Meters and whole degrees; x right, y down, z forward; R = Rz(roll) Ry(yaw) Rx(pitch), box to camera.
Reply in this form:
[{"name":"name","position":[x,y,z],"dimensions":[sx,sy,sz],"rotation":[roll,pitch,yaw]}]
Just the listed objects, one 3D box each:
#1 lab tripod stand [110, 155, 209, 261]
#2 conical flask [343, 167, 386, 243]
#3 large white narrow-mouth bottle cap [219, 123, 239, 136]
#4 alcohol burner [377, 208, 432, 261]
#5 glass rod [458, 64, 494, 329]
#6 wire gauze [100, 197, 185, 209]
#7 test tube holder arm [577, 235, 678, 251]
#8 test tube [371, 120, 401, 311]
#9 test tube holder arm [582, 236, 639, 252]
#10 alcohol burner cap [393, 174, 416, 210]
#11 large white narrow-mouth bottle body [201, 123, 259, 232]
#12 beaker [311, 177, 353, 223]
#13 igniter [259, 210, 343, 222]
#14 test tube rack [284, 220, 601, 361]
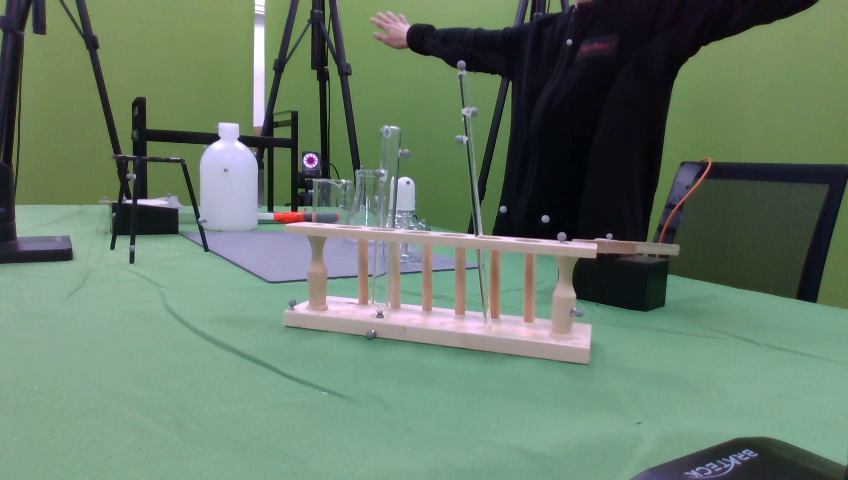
[{"name":"lab tripod stand","position":[-0.361,-0.046,0.806],"dimensions":[0.148,0.131,0.148],"rotation":[2,5,0]},{"name":"conical flask","position":[-0.096,-0.059,1.001],"dimensions":[0.075,0.122,0.075],"rotation":[2,8,0]},{"name":"large white narrow-mouth bottle cap","position":[-0.356,-0.201,1.104],"dimensions":[0.038,0.024,0.037],"rotation":[2,8,0]},{"name":"alcohol burner","position":[-0.027,-0.031,0.838],"dimensions":[0.078,0.119,0.078],"rotation":[0,6,0]},{"name":"glass rod","position":[0.039,-0.029,0.449],"dimensions":[0.008,0.199,0.008],"rotation":[-7,9,1]},{"name":"wire gauze","position":[-0.469,-0.062,1.008],"dimensions":[0.126,0.011,0.121],"rotation":[-2,8,-25]},{"name":"test tube holder arm","position":[0.226,0.004,0.662],"dimensions":[0.179,0.015,0.013],"rotation":[1,14,-39]},{"name":"test tube","position":[-0.030,-0.018,0.474],"dimensions":[0.017,0.150,0.017],"rotation":[4,5,0]},{"name":"test tube holder arm","position":[0.194,0.005,0.629],"dimensions":[0.088,0.015,0.010],"rotation":[2,14,-38]},{"name":"alcohol burner cap","position":[-0.025,-0.067,0.833],"dimensions":[0.034,0.048,0.034],"rotation":[4,12,-1]},{"name":"large white narrow-mouth bottle body","position":[-0.358,-0.116,1.116],"dimensions":[0.102,0.194,0.102],"rotation":[2,8,0]},{"name":"beaker","position":[-0.167,-0.064,1.106],"dimensions":[0.074,0.100,0.083],"rotation":[-2,9,-27]},{"name":"igniter","position":[-0.303,-0.049,1.258],"dimensions":[0.278,0.025,0.057],"rotation":[-2,-2,-28]},{"name":"test tube rack","position":[0.013,0.032,0.482],"dimensions":[0.242,0.085,0.067],"rotation":[4,7,16]}]
